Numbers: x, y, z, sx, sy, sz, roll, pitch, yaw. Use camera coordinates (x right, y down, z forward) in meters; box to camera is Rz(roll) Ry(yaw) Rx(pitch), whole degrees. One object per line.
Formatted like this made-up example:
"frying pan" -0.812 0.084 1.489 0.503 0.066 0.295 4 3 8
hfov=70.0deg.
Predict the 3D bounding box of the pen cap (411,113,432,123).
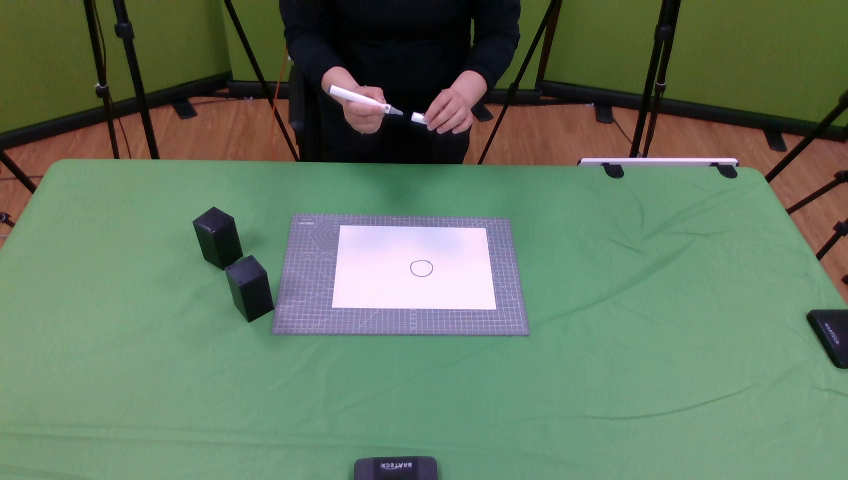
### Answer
"pen cap" -0.005 -0.222 1.106 0.038 0.017 0.017 0 45 -18

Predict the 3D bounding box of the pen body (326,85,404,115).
"pen body" -0.105 -0.249 1.089 0.144 0.017 0.017 17 45 -8
